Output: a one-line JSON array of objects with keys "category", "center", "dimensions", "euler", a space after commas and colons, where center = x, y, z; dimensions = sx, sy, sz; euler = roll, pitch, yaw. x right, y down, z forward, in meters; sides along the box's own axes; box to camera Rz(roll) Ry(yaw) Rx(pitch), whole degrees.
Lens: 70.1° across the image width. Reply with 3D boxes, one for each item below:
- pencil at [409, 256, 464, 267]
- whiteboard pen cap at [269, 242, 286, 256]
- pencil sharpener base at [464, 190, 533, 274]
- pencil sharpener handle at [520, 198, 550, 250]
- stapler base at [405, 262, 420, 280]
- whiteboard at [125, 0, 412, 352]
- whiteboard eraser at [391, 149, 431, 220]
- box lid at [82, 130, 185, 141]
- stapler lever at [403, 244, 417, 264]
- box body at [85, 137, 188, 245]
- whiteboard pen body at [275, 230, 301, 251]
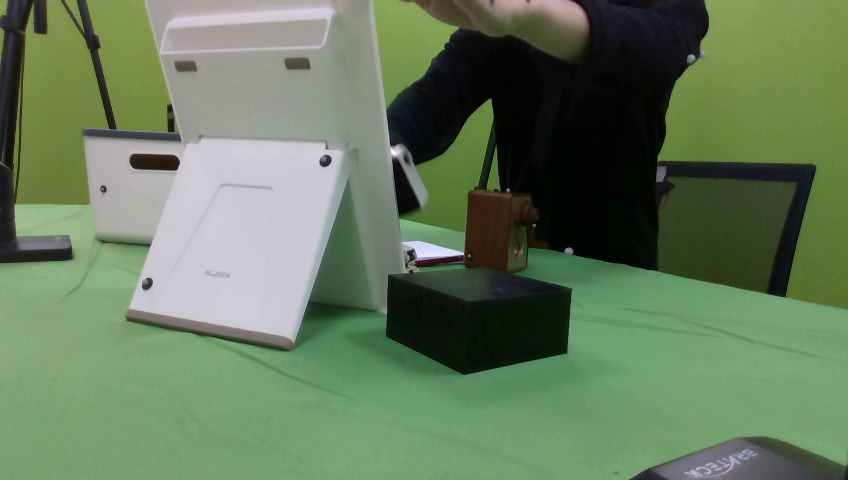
[{"category": "pencil", "center": [0.041, 0.028, 0.848], "dimensions": [0.012, 0.012, 0.195], "euler": [10, 10, 43]}, {"category": "whiteboard pen cap", "center": [-0.202, 0.012, 0.836], "dimensions": [0.018, 0.018, 0.033], "euler": [2, 8, -1]}, {"category": "pencil sharpener base", "center": [0.103, -0.012, 0.812], "dimensions": [0.076, 0.107, 0.061], "euler": [8, 9, 36]}, {"category": "pencil sharpener handle", "center": [0.146, -0.020, 0.784], "dimensions": [0.030, 0.068, 0.036], "euler": [8, 24, 36]}, {"category": "stapler base", "center": [-0.069, 0.027, 0.759], "dimensions": [0.130, 0.024, 0.041], "euler": [10, 14, 23]}, {"category": "whiteboard", "center": [-0.151, -0.049, 0.471], "dimensions": [0.216, 0.305, 0.144], "euler": [6, 27, 24]}, {"category": "whiteboard eraser", "center": [-0.054, -0.040, 0.534], "dimensions": [0.112, 0.056, 0.042], "euler": [-10, 26, 30]}, {"category": "box lid", "center": [-0.337, -0.161, 1.011], "dimensions": [0.263, 0.015, 0.372], "euler": [4, 7, 11]}, {"category": "stapler lever", "center": [-0.066, 0.003, 0.754], "dimensions": [0.117, 0.040, 0.027], "euler": [9, 14, 23]}, {"category": "box body", "center": [-0.340, -0.088, 1.022], "dimensions": [0.254, 0.160, 0.364], "euler": [4, 7, 11]}, {"category": "whiteboard pen body", "center": [-0.203, 0.002, 0.894], "dimensions": [0.017, 0.017, 0.140], "euler": [2, 9, -1]}]
